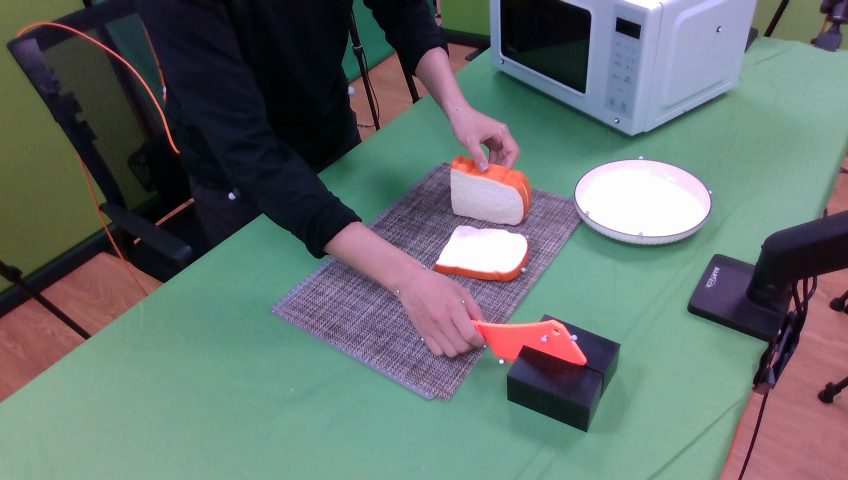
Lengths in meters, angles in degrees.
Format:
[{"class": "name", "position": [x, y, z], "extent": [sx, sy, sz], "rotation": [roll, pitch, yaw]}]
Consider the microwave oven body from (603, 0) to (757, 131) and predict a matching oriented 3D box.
[{"class": "microwave oven body", "position": [0.396, -0.448, 1.248], "extent": [0.327, 0.261, 0.437], "rotation": [-27, 44, -21]}]

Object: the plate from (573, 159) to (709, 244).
[{"class": "plate", "position": [0.347, -0.059, 0.979], "extent": [0.207, 0.039, 0.206], "rotation": [-4, 41, 4]}]

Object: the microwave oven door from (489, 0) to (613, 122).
[{"class": "microwave oven door", "position": [0.250, -0.412, 1.219], "extent": [0.039, 0.245, 0.352], "rotation": [-27, 44, -21]}]

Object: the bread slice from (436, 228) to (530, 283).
[{"class": "bread slice", "position": [0.093, 0.025, 0.929], "extent": [0.133, 0.018, 0.107], "rotation": [7, 47, 29]}]

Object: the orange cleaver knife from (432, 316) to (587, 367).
[{"class": "orange cleaver knife", "position": [0.101, 0.127, 0.761], "extent": [0.210, 0.077, 0.012], "rotation": [-1, 34, 40]}]

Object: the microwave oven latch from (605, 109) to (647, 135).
[{"class": "microwave oven latch", "position": [0.379, -0.225, 1.139], "extent": [0.030, 0.029, 0.078], "rotation": [-26, 43, -19]}]
